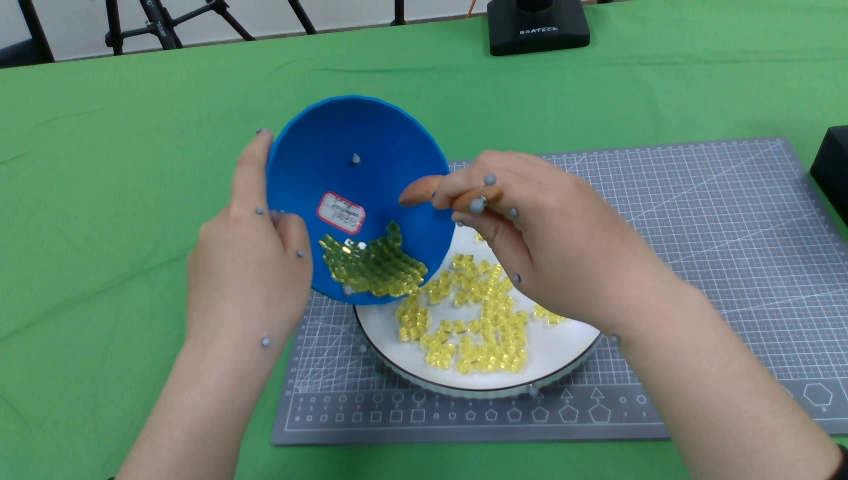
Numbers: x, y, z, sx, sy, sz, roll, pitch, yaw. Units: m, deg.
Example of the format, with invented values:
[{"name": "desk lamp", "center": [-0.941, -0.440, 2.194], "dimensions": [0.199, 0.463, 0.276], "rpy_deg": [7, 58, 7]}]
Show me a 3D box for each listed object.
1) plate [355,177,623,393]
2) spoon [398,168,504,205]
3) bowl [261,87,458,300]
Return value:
[{"name": "plate", "center": [0.050, 0.032, 0.486], "dimensions": [0.207, 0.039, 0.205], "rpy_deg": [-5, 48, 6]}, {"name": "spoon", "center": [0.016, -0.031, 0.365], "dimensions": [0.041, 0.022, 0.192], "rpy_deg": [-20, 12, -9]}, {"name": "bowl", "center": [-0.057, -0.030, 0.458], "dimensions": [0.151, 0.152, 0.076], "rpy_deg": [-44, 18, -26]}]
